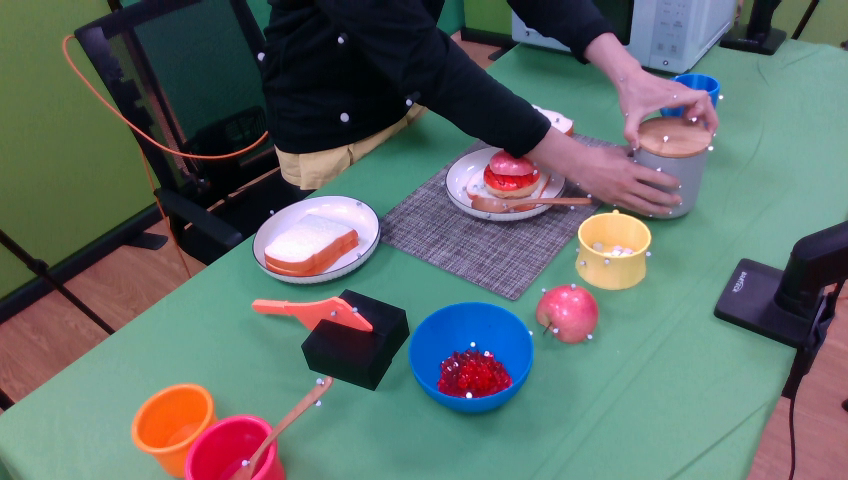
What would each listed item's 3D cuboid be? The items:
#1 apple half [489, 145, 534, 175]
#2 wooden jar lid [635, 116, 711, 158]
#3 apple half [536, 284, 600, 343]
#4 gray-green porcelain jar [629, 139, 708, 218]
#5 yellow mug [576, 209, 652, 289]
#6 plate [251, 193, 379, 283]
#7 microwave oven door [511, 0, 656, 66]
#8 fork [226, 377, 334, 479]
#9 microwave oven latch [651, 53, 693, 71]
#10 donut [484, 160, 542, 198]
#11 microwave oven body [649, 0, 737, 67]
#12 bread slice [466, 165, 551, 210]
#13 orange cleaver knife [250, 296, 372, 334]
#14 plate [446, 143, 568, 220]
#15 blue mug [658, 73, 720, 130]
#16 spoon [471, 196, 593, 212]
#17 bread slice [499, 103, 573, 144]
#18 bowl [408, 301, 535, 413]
[{"bbox_3d":[0.145,-0.138,0.995,0.081,0.033,0.081,-1,35,1],"label":"apple half"},{"bbox_3d":[0.376,-0.153,0.918,0.108,0.021,0.108,-3,42,3],"label":"wooden jar lid"},{"bbox_3d":[0.196,0.090,0.815,0.075,0.053,0.080,-22,42,-20],"label":"apple half"},{"bbox_3d":[0.383,-0.106,0.959,0.106,0.127,0.105,-5,41,4],"label":"gray-green porcelain jar"},{"bbox_3d":[0.279,0.004,0.893,0.099,0.064,0.130,6,42,14],"label":"yellow mug"},{"bbox_3d":[-0.174,-0.001,0.984,0.209,0.038,0.208,-4,41,4],"label":"plate"},{"bbox_3d":[0.350,-0.539,1.348,0.353,0.245,0.039,24,50,31],"label":"microwave oven door"},{"bbox_3d":[-0.163,0.216,0.647,0.207,0.019,0.028,-49,41,16],"label":"fork"},{"bbox_3d":[0.532,-0.387,1.301,0.078,0.029,0.030,28,53,35],"label":"microwave oven latch"},{"bbox_3d":[0.149,-0.109,1.016,0.099,0.048,0.098,-4,41,4],"label":"donut"},{"bbox_3d":[0.475,-0.602,1.411,0.438,0.261,0.327,23,50,32],"label":"microwave oven body"},{"bbox_3d":[0.141,-0.092,1.042,0.133,0.018,0.107,10,42,19],"label":"bread slice"},{"bbox_3d":[-0.158,0.103,0.828,0.210,0.078,0.012,-4,43,39],"label":"orange cleaver knife"},{"bbox_3d":[0.143,-0.097,1.045,0.207,0.039,0.206,-4,40,4],"label":"plate"},{"bbox_3d":[0.483,-0.250,1.127,0.082,0.106,0.115,-25,44,-19],"label":"blue mug"},{"bbox_3d":[0.172,-0.060,0.975,0.193,0.022,0.041,-4,40,17],"label":"spoon"},{"bbox_3d":[0.231,-0.232,1.205,0.105,0.019,0.130,-36,47,-29],"label":"bread slice"},{"bbox_3d":[0.060,0.156,0.739,0.151,0.077,0.150,-4,40,4],"label":"bowl"}]
